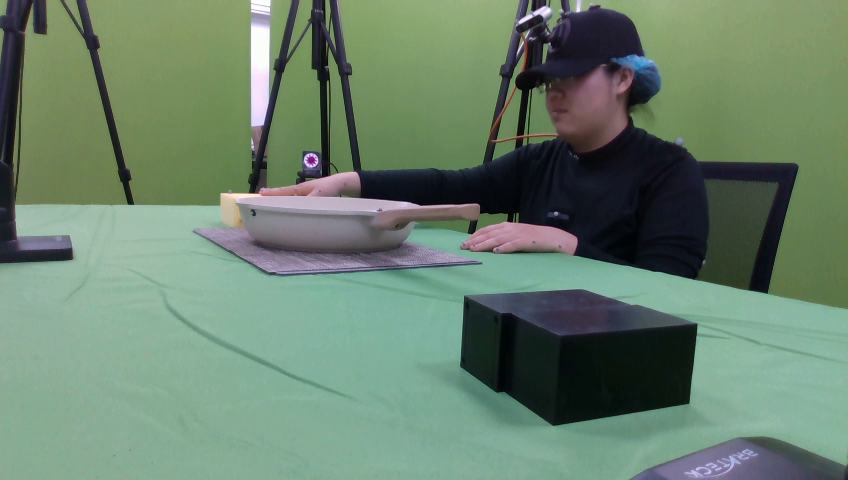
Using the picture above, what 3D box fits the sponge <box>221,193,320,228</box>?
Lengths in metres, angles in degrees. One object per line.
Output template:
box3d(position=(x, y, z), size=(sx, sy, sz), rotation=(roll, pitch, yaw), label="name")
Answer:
box3d(position=(-0.297, -0.062, 1.235), size=(0.208, 0.061, 0.117), rotation=(-2, 9, -31), label="sponge")

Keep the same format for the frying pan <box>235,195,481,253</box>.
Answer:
box3d(position=(-0.089, -0.034, 0.891), size=(0.308, 0.102, 0.485), rotation=(-4, 2, -36), label="frying pan")
